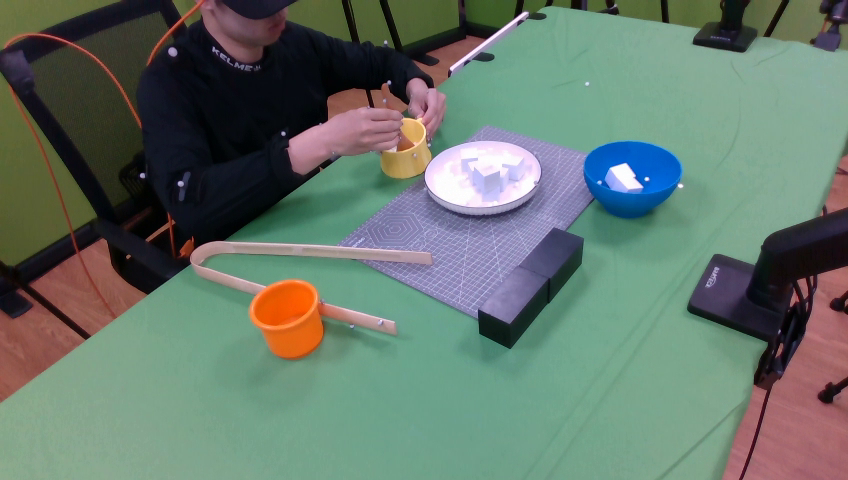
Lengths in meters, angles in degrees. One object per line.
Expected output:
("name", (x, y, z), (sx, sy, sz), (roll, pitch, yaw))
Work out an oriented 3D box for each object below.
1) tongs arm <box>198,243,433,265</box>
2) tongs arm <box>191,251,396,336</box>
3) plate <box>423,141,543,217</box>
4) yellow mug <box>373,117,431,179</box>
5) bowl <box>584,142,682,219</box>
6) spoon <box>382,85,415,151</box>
("tongs arm", (-0.176, 0.025, 0.960), (0.386, 0.028, 0.028), (2, 45, 12))
("tongs arm", (-0.204, 0.075, 0.902), (0.382, 0.026, 0.051), (11, 44, 22))
("plate", (0.103, -0.104, 1.059), (0.207, 0.039, 0.206), (-4, 40, 4))
("yellow mug", (-0.032, -0.183, 1.139), (0.099, 0.064, 0.131), (25, 58, 28))
("bowl", (0.333, -0.087, 0.980), (0.151, 0.077, 0.150), (-4, 40, 3))
("spoon", (-0.049, -0.202, 1.060), (0.041, 0.195, 0.021), (-23, 56, -1))
